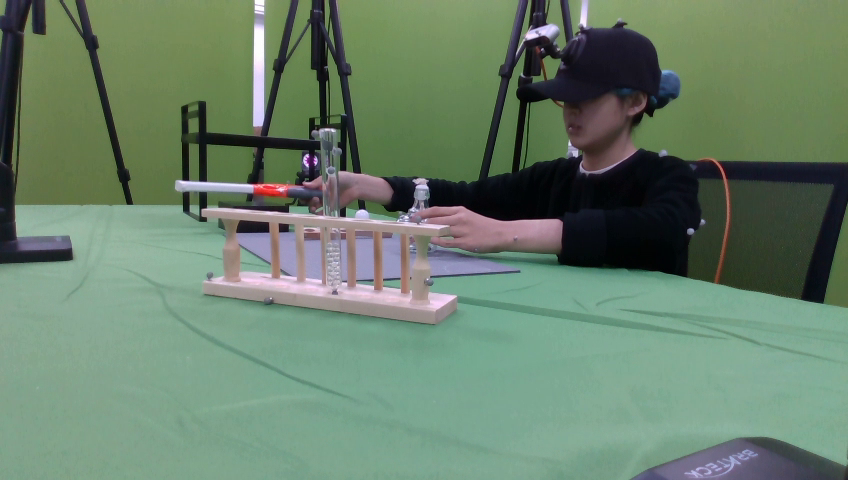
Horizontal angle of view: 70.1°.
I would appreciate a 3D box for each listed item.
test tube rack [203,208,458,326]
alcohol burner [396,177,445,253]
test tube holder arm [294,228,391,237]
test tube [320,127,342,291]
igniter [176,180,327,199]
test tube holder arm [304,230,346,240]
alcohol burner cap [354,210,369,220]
[{"bbox_3d":[-0.090,0.019,0.579,0.241,0.085,0.067,5,7,19],"label":"test tube rack"},{"bbox_3d":[-0.005,-0.039,0.943,0.078,0.119,0.078,5,7,0],"label":"alcohol burner"},{"bbox_3d":[-0.138,-0.013,1.054,0.179,0.015,0.013,-1,44,-32],"label":"test tube holder arm"},{"bbox_3d":[-0.084,-0.027,0.554,0.017,0.150,0.017,-1,7,0],"label":"test tube"},{"bbox_3d":[-0.312,-0.094,1.128,0.278,0.025,0.057,1,11,-35],"label":"igniter"},{"bbox_3d":[-0.175,-0.009,1.027,0.088,0.015,0.010,0,43,-31],"label":"test tube holder arm"},{"bbox_3d":[-0.118,-0.033,1.133,0.034,0.048,0.034,2,7,0],"label":"alcohol burner cap"}]
